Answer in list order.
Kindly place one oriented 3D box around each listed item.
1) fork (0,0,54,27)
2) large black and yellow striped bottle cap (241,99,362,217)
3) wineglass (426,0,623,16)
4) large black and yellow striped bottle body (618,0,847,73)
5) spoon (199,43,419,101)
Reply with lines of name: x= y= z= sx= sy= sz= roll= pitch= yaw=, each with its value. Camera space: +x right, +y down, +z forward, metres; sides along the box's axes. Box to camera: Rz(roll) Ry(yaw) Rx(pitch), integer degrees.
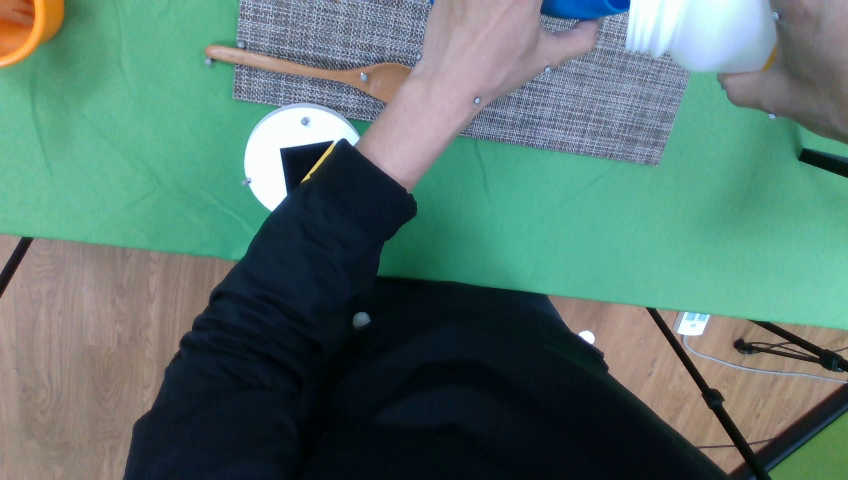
fork: x=-0.356 y=-0.180 z=0.402 sx=0.028 sy=0.018 sz=0.208 roll=-58 pitch=157 yaw=20
large black and yellow striped bottle cap: x=-0.116 y=-0.077 z=0.582 sx=0.115 sy=0.018 sz=0.116 roll=-6 pitch=119 yaw=-11
wineglass: x=0.074 y=-0.208 z=0.459 sx=0.074 sy=0.170 sz=0.074 roll=-17 pitch=116 yaw=-38
large black and yellow striped bottle body: x=0.210 y=-0.163 z=0.342 sx=0.183 sy=0.130 sz=0.131 roll=6 pitch=116 yaw=15
spoon: x=-0.100 y=-0.155 z=0.543 sx=0.194 sy=0.021 sz=0.042 roll=5 pitch=135 yaw=-16
